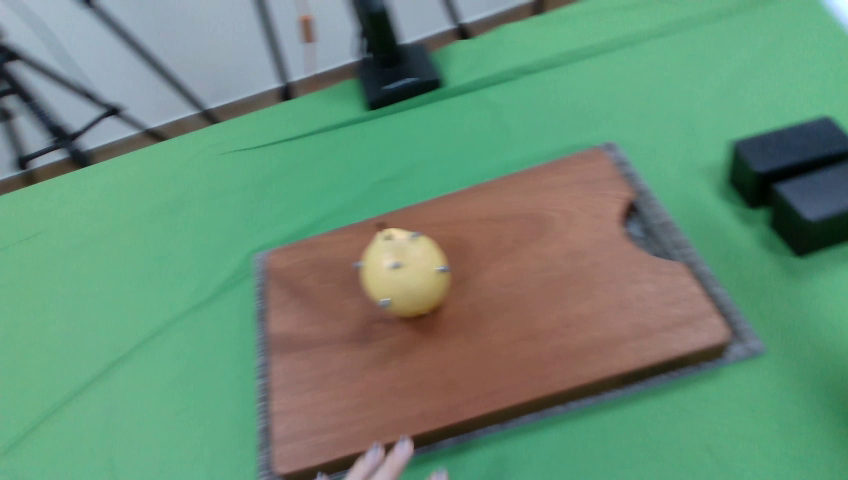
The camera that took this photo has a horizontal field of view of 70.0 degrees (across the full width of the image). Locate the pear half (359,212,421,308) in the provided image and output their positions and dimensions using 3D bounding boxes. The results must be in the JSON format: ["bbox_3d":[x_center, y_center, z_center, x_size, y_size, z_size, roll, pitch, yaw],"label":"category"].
[{"bbox_3d":[-0.036,0.014,0.553,0.056,0.111,0.075,-11,44,10],"label":"pear half"}]

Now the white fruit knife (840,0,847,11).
[{"bbox_3d":[0.300,-0.149,0.397,0.016,0.027,0.206,-22,77,-44],"label":"white fruit knife"}]

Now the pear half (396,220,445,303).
[{"bbox_3d":[0.001,0.015,0.554,0.031,0.089,0.069,-12,41,9],"label":"pear half"}]
